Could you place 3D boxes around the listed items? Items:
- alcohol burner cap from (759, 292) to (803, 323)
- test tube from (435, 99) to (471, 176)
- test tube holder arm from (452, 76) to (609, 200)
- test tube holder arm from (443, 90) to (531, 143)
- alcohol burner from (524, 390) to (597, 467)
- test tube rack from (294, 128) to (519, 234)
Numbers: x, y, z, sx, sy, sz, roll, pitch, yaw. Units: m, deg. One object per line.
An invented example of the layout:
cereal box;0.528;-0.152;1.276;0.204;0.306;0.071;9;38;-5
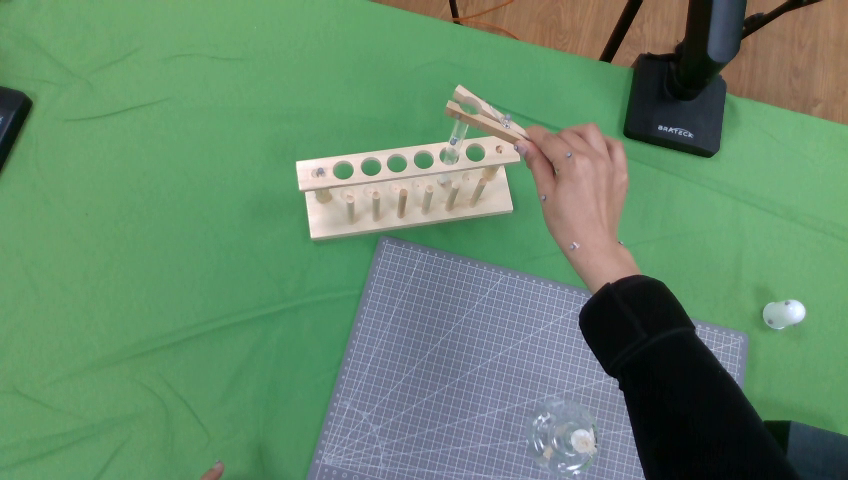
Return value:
alcohol burner cap;0.420;0.077;0.707;0.034;0.048;0.033;1;74;-3
test tube;0.029;-0.105;0.652;0.017;0.151;0.017;2;71;-7
test tube holder arm;0.100;-0.096;0.570;0.178;0.015;0.013;36;68;1
test tube holder arm;0.060;-0.115;0.567;0.088;0.015;0.010;24;67;-4
alcohol burner;0.144;0.193;0.617;0.078;0.119;0.077;1;77;-4
test tube rack;-0.017;-0.067;0.690;0.243;0.085;0.066;-8;75;-6
